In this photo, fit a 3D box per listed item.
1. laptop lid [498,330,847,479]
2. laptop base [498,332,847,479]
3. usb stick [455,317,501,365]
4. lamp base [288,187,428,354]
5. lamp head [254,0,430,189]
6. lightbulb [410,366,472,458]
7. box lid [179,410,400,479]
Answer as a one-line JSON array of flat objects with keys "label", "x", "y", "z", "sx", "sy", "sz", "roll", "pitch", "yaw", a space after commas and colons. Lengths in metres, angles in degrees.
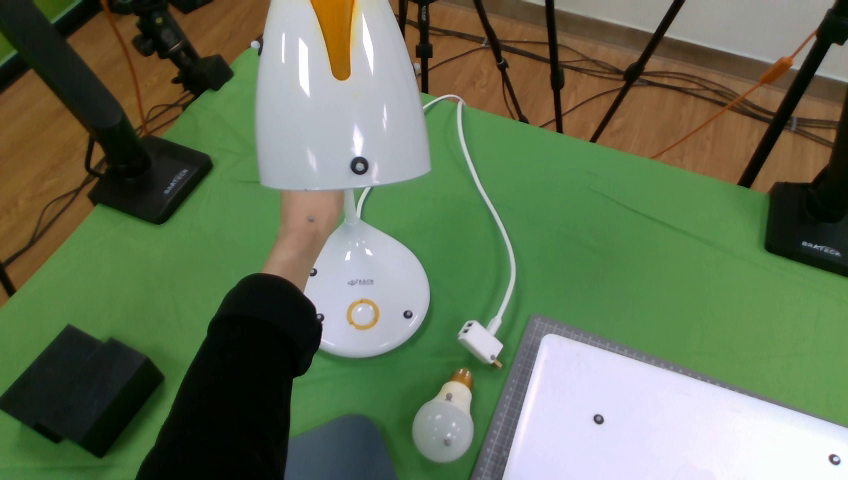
[{"label": "laptop lid", "x": 0.254, "y": 0.237, "z": 0.574, "sx": 0.355, "sy": 0.013, "sz": 0.240, "roll": 18, "pitch": 59, "yaw": 12}, {"label": "laptop base", "x": 0.255, "y": 0.242, "z": 0.586, "sx": 0.353, "sy": 0.023, "sz": 0.234, "roll": 17, "pitch": 60, "yaw": 11}, {"label": "usb stick", "x": 0.063, "y": 0.112, "z": 0.659, "sx": 0.059, "sy": 0.021, "sz": 0.027, "roll": 47, "pitch": 63, "yaw": -15}, {"label": "lamp base", "x": -0.079, "y": 0.005, "z": 0.645, "sx": 0.161, "sy": 0.182, "sz": 0.177, "roll": -13, "pitch": 55, "yaw": -9}, {"label": "lamp head", "x": -0.056, "y": -0.099, "z": 0.382, "sx": 0.112, "sy": 0.123, "sz": 0.112, "roll": -5, "pitch": 12, "yaw": 1}, {"label": "lightbulb", "x": 0.024, "y": 0.169, "z": 0.615, "sx": 0.059, "sy": 0.060, "sz": 0.107, "roll": 17, "pitch": 41, "yaw": 12}, {"label": "box lid", "x": -0.104, "y": 0.348, "z": 0.512, "sx": 0.264, "sy": 0.015, "sz": 0.367, "roll": -20, "pitch": 59, "yaw": -14}]
